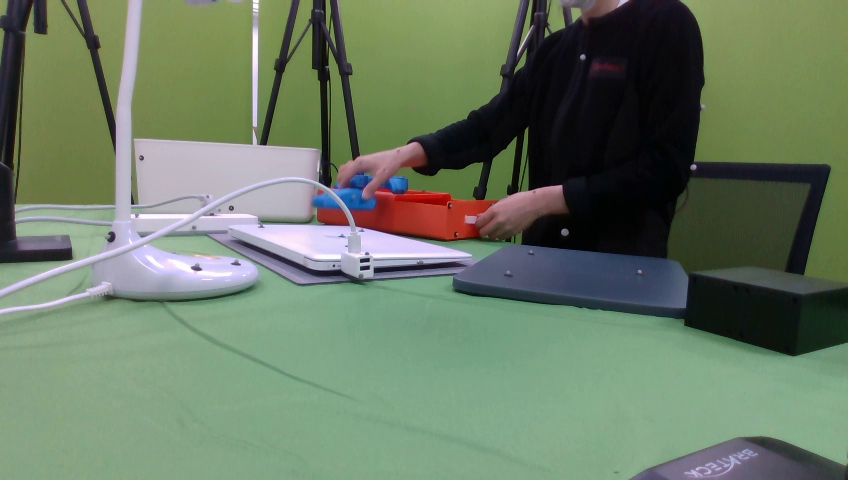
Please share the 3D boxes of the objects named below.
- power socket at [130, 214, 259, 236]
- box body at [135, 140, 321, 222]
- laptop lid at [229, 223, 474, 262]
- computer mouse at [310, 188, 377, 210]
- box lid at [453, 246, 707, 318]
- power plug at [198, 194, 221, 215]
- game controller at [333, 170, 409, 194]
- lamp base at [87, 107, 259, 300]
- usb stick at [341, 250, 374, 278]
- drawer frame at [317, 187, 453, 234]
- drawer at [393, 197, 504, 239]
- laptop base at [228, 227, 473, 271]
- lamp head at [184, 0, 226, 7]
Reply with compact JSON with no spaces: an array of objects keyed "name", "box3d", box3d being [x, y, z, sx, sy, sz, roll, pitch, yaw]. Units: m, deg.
[{"name":"power socket","box3d":[-0.397,-0.028,1.048,0.228,0.032,0.072,-3,7,-35]},{"name":"box body","box3d":[-0.420,-0.133,1.354,0.365,0.160,0.253,2,7,-8]},{"name":"laptop lid","box3d":[-0.121,0.000,0.888,0.243,0.013,0.355,1,7,-33]},{"name":"computer mouse","box3d":[-0.147,-0.074,1.107,0.118,0.041,0.062,-2,4,-32]},{"name":"box lid","box3d":[0.204,0.044,0.780,0.262,0.015,0.372,5,7,17]},{"name":"power plug","box3d":[-0.386,-0.055,1.088,0.035,0.052,0.072,-2,7,-24]},{"name":"game controller","box3d":[-0.107,-0.121,1.289,0.155,0.051,0.097,5,4,10]},{"name":"lamp base","box3d":[-0.254,-0.039,0.603,0.160,0.180,0.179,5,10,18]},{"name":"usb stick","box3d":[-0.078,0.026,0.686,0.021,0.027,0.059,-8,8,-30]},{"name":"drawer frame","box3d":[-0.082,-0.068,1.282,0.212,0.082,0.203,7,9,35]},{"name":"drawer","box3d":[0.021,-0.052,1.210,0.210,0.073,0.195,8,9,37]},{"name":"laptop base","box3d":[-0.124,0.011,0.889,0.237,0.023,0.352,2,6,-35]},{"name":"lamp head","box3d":[-0.229,-0.320,0.627,0.112,0.112,0.123,6,-35,26]}]
